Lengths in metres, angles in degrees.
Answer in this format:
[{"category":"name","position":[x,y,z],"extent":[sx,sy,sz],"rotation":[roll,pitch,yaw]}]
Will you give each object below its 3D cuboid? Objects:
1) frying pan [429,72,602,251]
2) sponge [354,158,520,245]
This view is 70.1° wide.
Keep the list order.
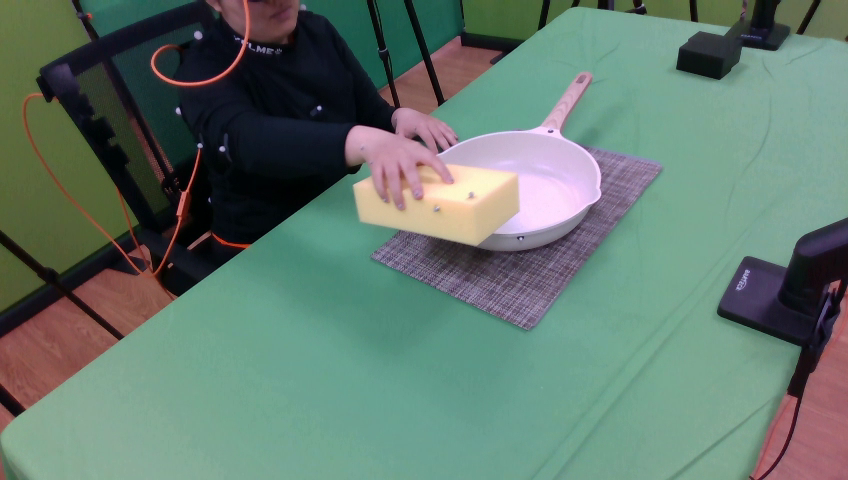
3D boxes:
[{"category":"frying pan","position":[0.199,-0.155,1.062],"extent":[0.304,0.103,0.488],"rotation":[19,56,28]},{"category":"sponge","position":[0.018,-0.061,0.864],"extent":[0.205,0.061,0.118],"rotation":[12,33,32]}]
